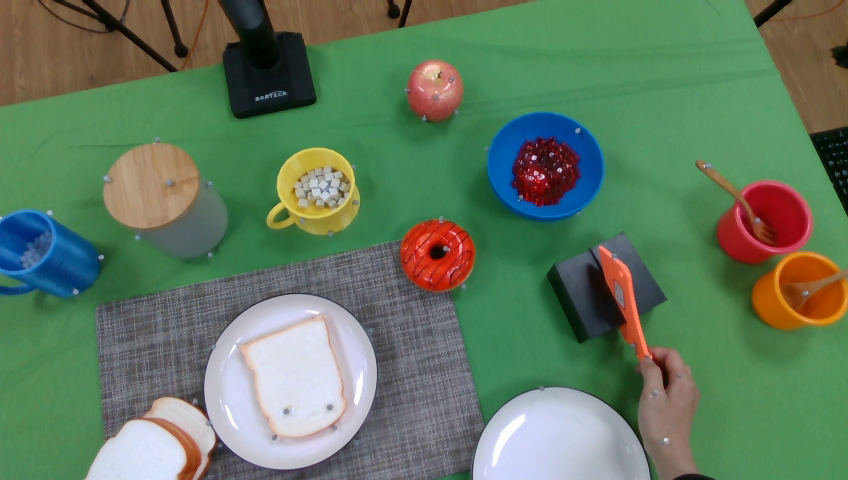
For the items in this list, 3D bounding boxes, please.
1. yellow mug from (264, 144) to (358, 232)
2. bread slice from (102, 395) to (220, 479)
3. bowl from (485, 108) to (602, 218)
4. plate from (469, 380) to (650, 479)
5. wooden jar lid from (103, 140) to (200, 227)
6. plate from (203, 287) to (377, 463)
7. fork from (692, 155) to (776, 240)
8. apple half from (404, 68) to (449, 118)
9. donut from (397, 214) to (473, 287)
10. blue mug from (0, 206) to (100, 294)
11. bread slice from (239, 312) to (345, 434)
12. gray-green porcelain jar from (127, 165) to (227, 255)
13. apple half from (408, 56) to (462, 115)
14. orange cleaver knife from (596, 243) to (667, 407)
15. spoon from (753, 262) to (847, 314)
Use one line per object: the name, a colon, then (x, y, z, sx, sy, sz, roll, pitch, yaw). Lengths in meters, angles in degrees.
yellow mug: (-0.153, -0.059, 0.798, 0.131, 0.064, 0.099, -36, 76, -10)
bread slice: (-0.299, 0.251, 0.708, 0.104, 0.019, 0.131, 25, 75, 8)
bowl: (0.152, -0.090, 0.804, 0.151, 0.077, 0.150, 0, 73, 0)
plate: (0.155, 0.272, 0.708, 0.209, 0.038, 0.208, 0, 72, 0)
wooden jar lid: (-0.313, -0.064, 0.701, 0.108, 0.021, 0.107, 0, 70, 1)
plate: (-0.159, 0.162, 0.737, 0.208, 0.039, 0.206, 0, 72, 0)
fork: (0.391, -0.051, 0.756, 0.209, 0.018, 0.028, 31, 67, -34)
apple half: (-0.004, -0.193, 0.837, 0.081, 0.082, 0.033, 42, 71, 12)
donut: (0.014, 0.014, 0.783, 0.099, 0.048, 0.098, 0, 73, -1)
blue mug: (-0.481, 0.024, 0.747, 0.116, 0.106, 0.082, -38, 76, -11)
bread slice: (-0.152, 0.165, 0.738, 0.107, 0.018, 0.133, -23, 73, -7)
gray-green porcelain jar: (-0.312, -0.043, 0.760, 0.106, 0.127, 0.105, 0, 71, 0)
apple half: (0.022, -0.220, 0.848, 0.080, 0.075, 0.053, 41, 71, 16)
orange cleaver knife: (0.250, 0.103, 0.735, 0.012, 0.077, 0.212, -22, 104, -4)
spoon: (0.496, 0.039, 0.728, 0.022, 0.194, 0.041, 1, 62, -48)
